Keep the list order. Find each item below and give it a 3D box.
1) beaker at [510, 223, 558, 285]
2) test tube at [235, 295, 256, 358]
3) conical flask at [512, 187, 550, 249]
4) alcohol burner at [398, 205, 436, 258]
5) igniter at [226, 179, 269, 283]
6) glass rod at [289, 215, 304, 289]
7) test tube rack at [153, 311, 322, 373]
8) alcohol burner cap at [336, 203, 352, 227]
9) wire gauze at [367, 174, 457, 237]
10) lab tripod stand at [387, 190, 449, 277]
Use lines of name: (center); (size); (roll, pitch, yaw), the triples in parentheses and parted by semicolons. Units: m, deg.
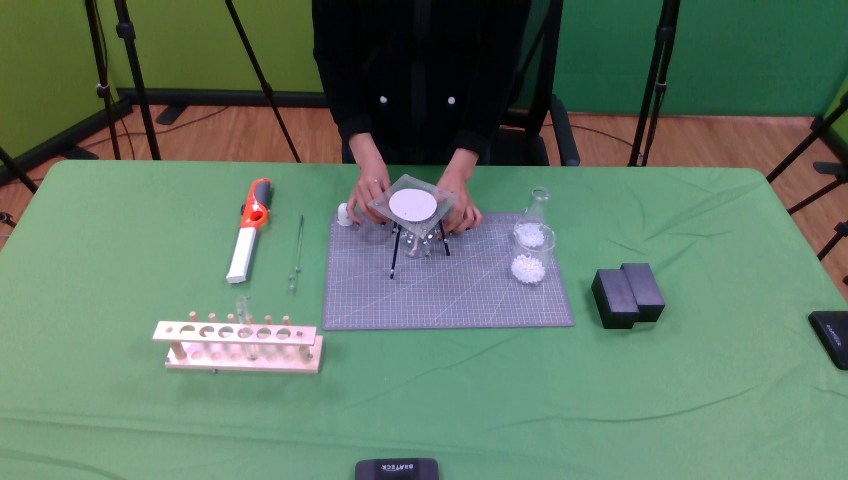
beaker: (0.199, 0.027, 1.132); (0.083, 0.101, 0.074); (26, 50, 21)
test tube: (-0.274, 0.136, 0.933); (0.017, 0.151, 0.017); (4, 45, -4)
conical flask: (0.217, -0.048, 1.190); (0.075, 0.122, 0.075); (2, 46, -2)
alcohol burner: (-0.014, -0.022, 1.153); (0.078, 0.119, 0.077); (3, 45, -3)
igniter: (-0.345, -0.027, 1.195); (0.057, 0.025, 0.274); (-6, 46, 5)
glass rod: (-0.246, 0.019, 1.171); (0.008, 0.008, 0.198); (1, 44, -3)
test tube rack: (-0.293, 0.160, 0.977); (0.242, 0.085, 0.066); (3, 46, -2)
alcohol burner cap: (-0.162, -0.053, 1.221); (0.034, 0.048, 0.033); (2, 46, -2)
wire gauze: (-0.021, -0.068, 1.088); (0.124, 0.011, 0.121); (28, 49, 20)
lab tripod stand: (-0.021, -0.018, 1.134); (0.148, 0.132, 0.147); (3, 44, -3)
